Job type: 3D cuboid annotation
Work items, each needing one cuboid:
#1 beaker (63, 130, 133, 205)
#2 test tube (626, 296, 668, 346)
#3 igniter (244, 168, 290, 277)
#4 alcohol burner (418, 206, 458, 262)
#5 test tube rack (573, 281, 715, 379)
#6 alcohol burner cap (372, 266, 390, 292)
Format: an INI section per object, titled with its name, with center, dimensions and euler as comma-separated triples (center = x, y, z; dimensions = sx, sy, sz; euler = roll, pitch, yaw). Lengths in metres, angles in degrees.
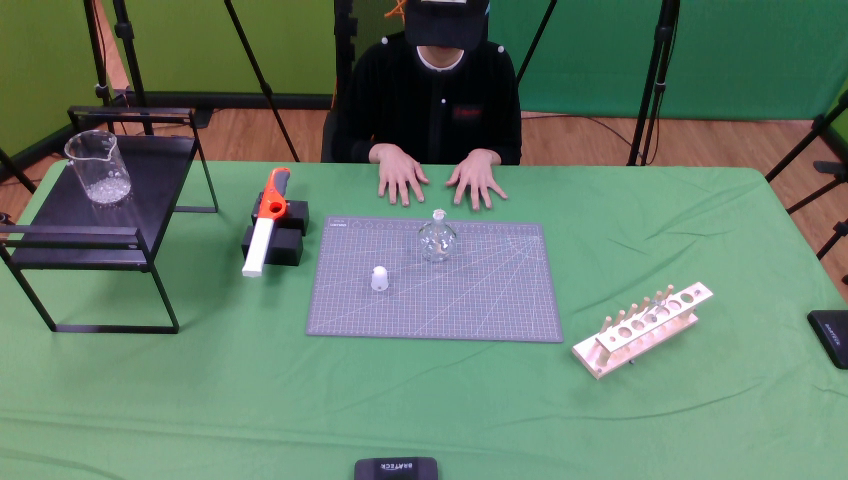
[beaker]
center = -0.511, -0.112, 0.964
dimensions = 0.083, 0.101, 0.074
euler = 31, 52, 23
[test tube]
center = 0.352, 0.133, 0.970
dimensions = 0.017, 0.151, 0.017
euler = 3, 54, -4
[igniter]
center = -0.295, -0.043, 1.147
dimensions = 0.057, 0.025, 0.275
euler = 5, 48, -3
[alcohol burner]
center = 0.027, -0.016, 1.144
dimensions = 0.078, 0.120, 0.077
euler = 0, 45, 0
[test tube rack]
center = 0.378, 0.140, 1.038
dimensions = 0.242, 0.085, 0.066
euler = -22, 51, -23
[alcohol burner cap]
center = -0.080, 0.069, 1.104
dimensions = 0.034, 0.048, 0.033
euler = 1, 46, 0
